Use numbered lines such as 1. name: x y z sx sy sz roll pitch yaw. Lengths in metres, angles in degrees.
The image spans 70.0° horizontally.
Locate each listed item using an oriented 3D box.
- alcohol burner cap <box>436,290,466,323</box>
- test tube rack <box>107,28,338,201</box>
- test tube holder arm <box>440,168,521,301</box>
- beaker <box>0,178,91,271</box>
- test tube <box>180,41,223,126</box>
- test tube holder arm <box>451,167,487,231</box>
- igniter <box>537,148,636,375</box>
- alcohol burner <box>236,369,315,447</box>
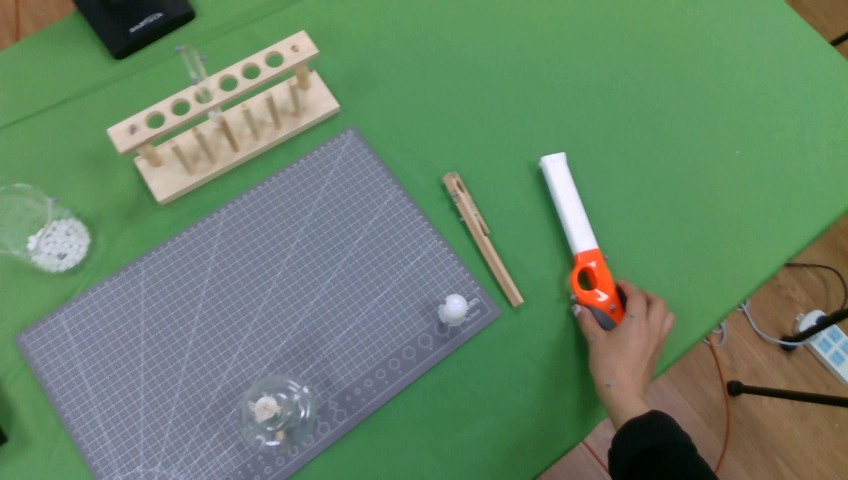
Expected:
1. alcohol burner cap: 0.031 0.073 0.675 0.034 0.048 0.033 1 72 -2
2. test tube rack: -0.225 -0.145 0.707 0.242 0.085 0.066 -31 77 -12
3. test tube holder arm: 0.066 -0.008 0.716 0.013 0.015 0.177 -15 73 -43
4. beaker: -0.412 -0.009 0.648 0.074 0.101 0.083 -32 77 -12
5. test tube: -0.239 -0.165 0.661 0.017 0.151 0.017 2 72 -6
6. test tube holder arm: 0.050 -0.048 0.730 0.010 0.015 0.087 -13 71 -43
7. igniter: 0.189 0.020 0.710 0.057 0.025 0.275 -13 74 -9
8. alcohol burner: -0.149 0.165 0.600 0.078 0.119 0.077 1 71 -3
